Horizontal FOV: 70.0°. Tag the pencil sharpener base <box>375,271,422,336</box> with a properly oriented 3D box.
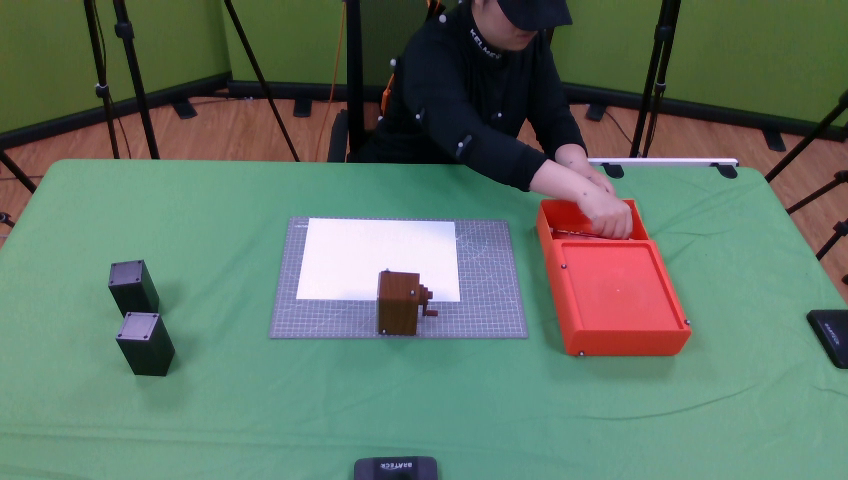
[{"bbox_3d":[-0.043,0.109,1.024,0.077,0.107,0.061,3,45,-2],"label":"pencil sharpener base"}]

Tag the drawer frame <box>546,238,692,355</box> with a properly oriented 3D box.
[{"bbox_3d":[0.338,0.097,1.086,0.202,0.083,0.212,0,46,-4],"label":"drawer frame"}]

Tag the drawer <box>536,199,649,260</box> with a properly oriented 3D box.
[{"bbox_3d":[0.333,0.014,1.170,0.195,0.073,0.210,1,46,-5],"label":"drawer"}]

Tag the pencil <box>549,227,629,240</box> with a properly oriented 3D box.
[{"bbox_3d":[0.323,-0.010,1.201,0.193,0.012,0.012,8,43,25],"label":"pencil"}]

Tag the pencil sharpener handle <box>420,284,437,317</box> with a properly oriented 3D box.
[{"bbox_3d":[0.009,0.104,1.016,0.030,0.068,0.036,3,38,-2],"label":"pencil sharpener handle"}]
